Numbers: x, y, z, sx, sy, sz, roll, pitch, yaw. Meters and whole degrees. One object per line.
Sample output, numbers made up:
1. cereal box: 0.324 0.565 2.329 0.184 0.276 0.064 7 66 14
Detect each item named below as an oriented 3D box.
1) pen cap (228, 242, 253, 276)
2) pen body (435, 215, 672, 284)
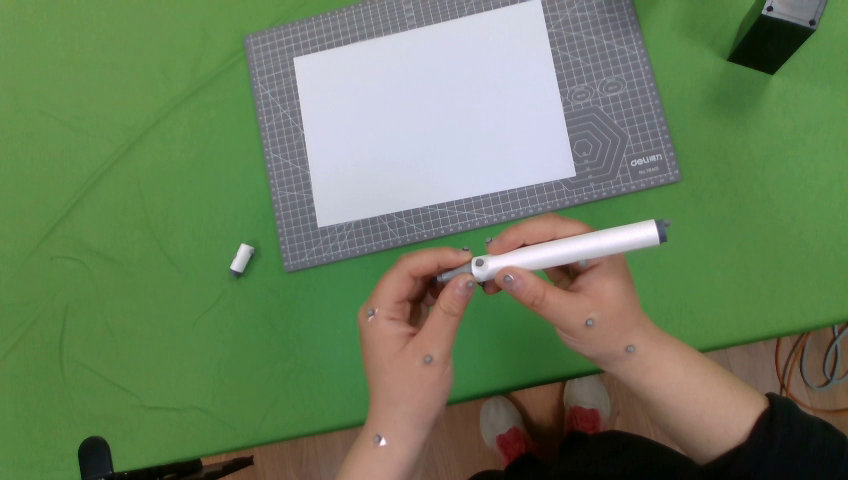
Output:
1. pen cap: -0.213 0.022 0.703 0.017 0.017 0.038 25 87 12
2. pen body: 0.074 0.010 0.367 0.144 0.017 0.017 -14 81 16
